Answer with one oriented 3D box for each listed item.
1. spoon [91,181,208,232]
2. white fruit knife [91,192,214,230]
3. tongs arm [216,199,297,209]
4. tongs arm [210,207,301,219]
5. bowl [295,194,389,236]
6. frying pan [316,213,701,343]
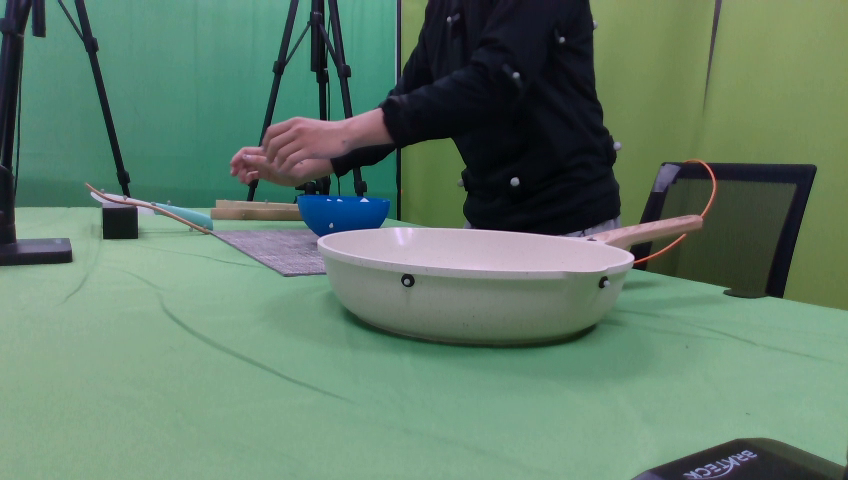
[{"bbox_3d":[-0.461,-0.053,1.023,0.195,0.021,0.041,22,25,-24],"label":"spoon"},{"bbox_3d":[-0.477,-0.055,1.077,0.208,0.027,0.016,15,-5,-30],"label":"white fruit knife"},{"bbox_3d":[-0.307,-0.076,1.469,0.386,0.026,0.050,2,8,-10],"label":"tongs arm"},{"bbox_3d":[-0.287,-0.061,1.392,0.389,0.028,0.028,0,5,-23],"label":"tongs arm"},{"bbox_3d":[-0.132,-0.032,0.980,0.151,0.077,0.151,2,7,0],"label":"bowl"},{"bbox_3d":[0.133,0.013,0.629,0.490,0.102,0.305,-12,14,-30],"label":"frying pan"}]
